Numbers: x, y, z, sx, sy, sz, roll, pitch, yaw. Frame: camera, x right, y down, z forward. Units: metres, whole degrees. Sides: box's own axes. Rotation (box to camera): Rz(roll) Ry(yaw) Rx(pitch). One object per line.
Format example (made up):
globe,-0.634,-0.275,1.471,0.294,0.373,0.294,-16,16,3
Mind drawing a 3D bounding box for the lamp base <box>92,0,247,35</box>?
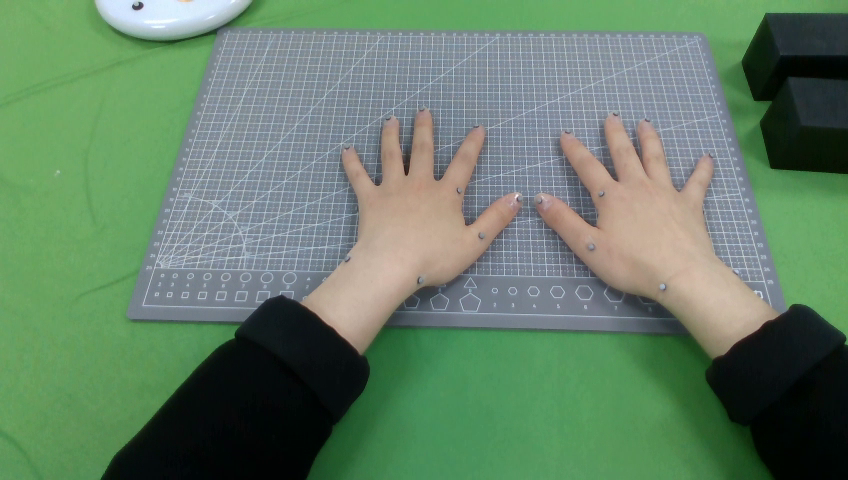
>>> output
lamp base,-0.252,-0.305,0.530,0.160,0.182,0.177,-36,62,-19
